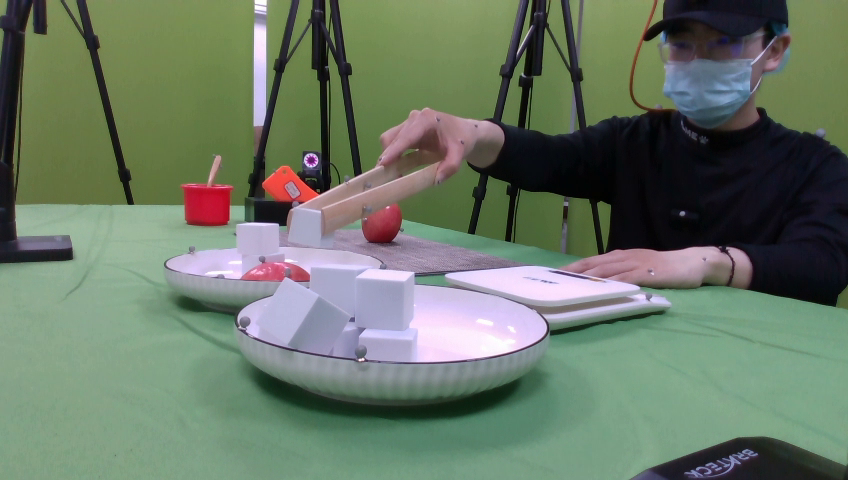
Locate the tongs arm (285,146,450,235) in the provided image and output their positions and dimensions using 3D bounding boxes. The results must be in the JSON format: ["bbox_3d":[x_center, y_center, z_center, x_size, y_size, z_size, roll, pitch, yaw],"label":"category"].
[{"bbox_3d":[-0.043,-0.069,0.702,0.050,0.026,0.385,9,19,15],"label":"tongs arm"}]

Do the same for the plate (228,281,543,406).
[{"bbox_3d":[-0.025,0.067,0.413,0.208,0.039,0.207,3,7,0],"label":"plate"}]

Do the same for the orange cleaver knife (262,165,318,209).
[{"bbox_3d":[-0.243,-0.081,1.292,0.212,0.077,0.012,34,-8,-26],"label":"orange cleaver knife"}]

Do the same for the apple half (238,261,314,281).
[{"bbox_3d":[-0.141,0.035,0.578,0.081,0.033,0.081,2,11,0],"label":"apple half"}]

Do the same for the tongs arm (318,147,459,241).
[{"bbox_3d":[-0.022,-0.065,0.695,0.028,0.028,0.388,7,19,20],"label":"tongs arm"}]

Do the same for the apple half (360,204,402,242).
[{"bbox_3d":[-0.066,-0.033,1.014,0.053,0.074,0.081,9,6,20],"label":"apple half"}]

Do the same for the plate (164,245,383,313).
[{"bbox_3d":[-0.145,0.038,0.600,0.209,0.038,0.209,2,8,0],"label":"plate"}]

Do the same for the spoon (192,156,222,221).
[{"bbox_3d":[-0.430,-0.108,1.222,0.041,0.021,0.193,-1,52,0],"label":"spoon"}]

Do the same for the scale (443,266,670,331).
[{"bbox_3d":[0.131,0.052,0.603,0.202,0.031,0.148,-2,9,-37],"label":"scale"}]
